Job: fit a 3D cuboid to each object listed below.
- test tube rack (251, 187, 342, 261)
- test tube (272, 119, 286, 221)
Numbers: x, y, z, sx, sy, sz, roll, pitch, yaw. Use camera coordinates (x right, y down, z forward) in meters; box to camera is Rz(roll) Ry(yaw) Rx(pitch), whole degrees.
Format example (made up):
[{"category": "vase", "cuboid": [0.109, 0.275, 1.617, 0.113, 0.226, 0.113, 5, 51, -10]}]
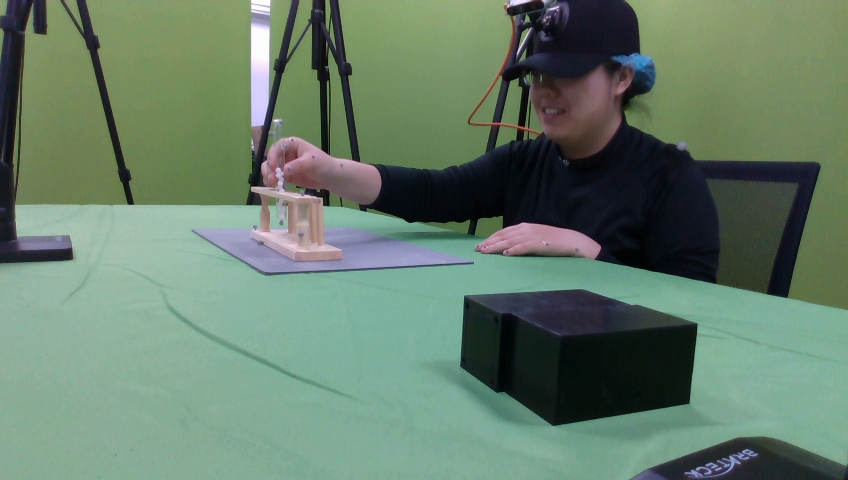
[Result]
[{"category": "test tube rack", "cuboid": [-0.196, -0.030, 0.902, 0.067, 0.085, 0.241, -2, 8, -29]}, {"category": "test tube", "cuboid": [-0.215, -0.103, 0.899, 0.017, 0.150, 0.017, 0, 7, 0]}]
